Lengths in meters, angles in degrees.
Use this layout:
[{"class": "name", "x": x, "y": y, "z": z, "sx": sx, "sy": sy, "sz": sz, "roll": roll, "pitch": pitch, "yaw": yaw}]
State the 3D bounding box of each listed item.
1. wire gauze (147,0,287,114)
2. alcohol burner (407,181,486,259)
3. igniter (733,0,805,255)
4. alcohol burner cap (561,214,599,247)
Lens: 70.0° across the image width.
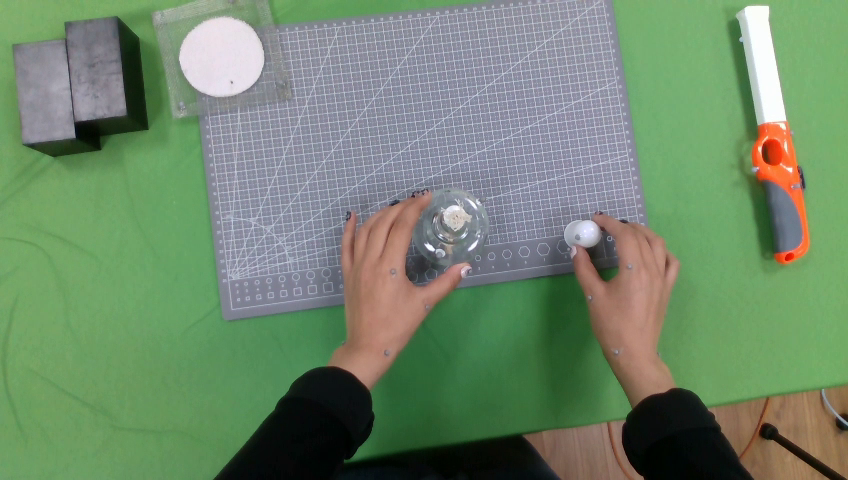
[{"class": "wire gauze", "x": -0.215, "y": -0.199, "z": 0.628, "sx": 0.125, "sy": 0.011, "sz": 0.121, "roll": -13, "pitch": 86, "yaw": -3}, {"class": "alcohol burner", "x": 0.023, "y": -0.021, "z": 0.577, "sx": 0.078, "sy": 0.119, "sz": 0.077, "roll": 0, "pitch": 84, "yaw": -4}, {"class": "igniter", "x": 0.368, "y": -0.122, "z": 0.646, "sx": 0.057, "sy": 0.025, "sz": 0.276, "roll": -6, "pitch": 86, "yaw": -14}, {"class": "alcohol burner cap", "x": 0.161, "y": -0.011, "z": 0.618, "sx": 0.034, "sy": 0.048, "sz": 0.034, "roll": 0, "pitch": 84, "yaw": -1}]
